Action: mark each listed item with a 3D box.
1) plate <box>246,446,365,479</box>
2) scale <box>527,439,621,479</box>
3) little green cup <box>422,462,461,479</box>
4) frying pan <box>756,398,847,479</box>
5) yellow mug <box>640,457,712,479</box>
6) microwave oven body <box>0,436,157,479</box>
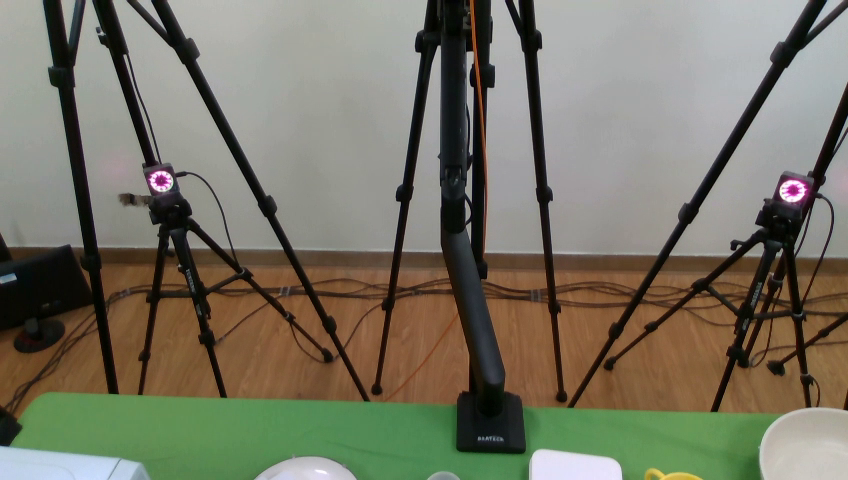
[{"bbox_3d":[-0.189,0.419,0.939,0.208,0.039,0.205,-1,37,1],"label":"plate"},{"bbox_3d":[0.235,0.408,0.944,0.148,0.032,0.199,4,38,8],"label":"scale"},{"bbox_3d":[0.029,0.392,0.968,0.061,0.039,0.061,-1,37,1],"label":"little green cup"},{"bbox_3d":[0.701,0.423,0.849,0.307,0.103,0.482,-16,31,-17],"label":"frying pan"},{"bbox_3d":[0.383,0.391,0.934,0.100,0.064,0.129,-19,40,-22],"label":"yellow mug"},{"bbox_3d":[-0.534,0.479,0.679,0.326,0.262,0.438,3,38,6],"label":"microwave oven body"}]
